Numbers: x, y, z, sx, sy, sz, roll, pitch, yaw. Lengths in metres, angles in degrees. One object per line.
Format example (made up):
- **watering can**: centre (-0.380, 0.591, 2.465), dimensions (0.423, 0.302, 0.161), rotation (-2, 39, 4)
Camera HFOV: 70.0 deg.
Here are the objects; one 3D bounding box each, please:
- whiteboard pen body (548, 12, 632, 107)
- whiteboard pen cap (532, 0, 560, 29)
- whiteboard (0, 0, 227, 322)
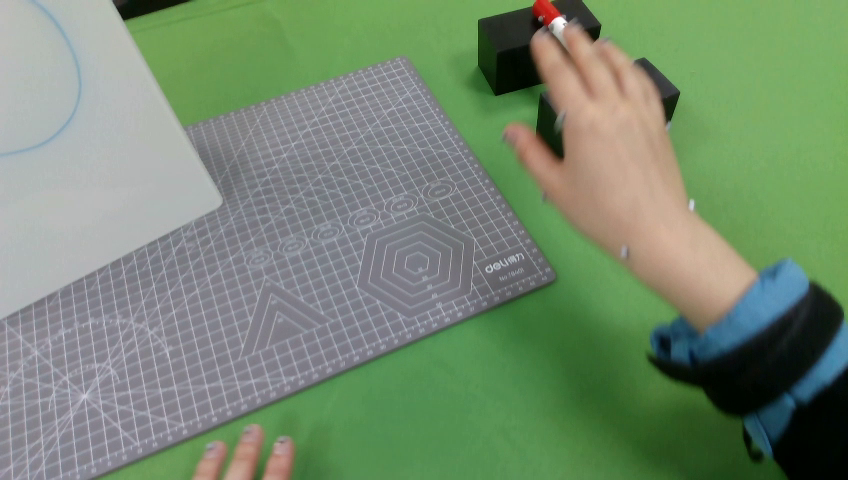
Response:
- **whiteboard pen body**: centre (0.132, -0.161, 0.510), dimensions (0.017, 0.017, 0.139), rotation (-20, 57, -9)
- **whiteboard pen cap**: centre (0.111, -0.204, 0.542), dimensions (0.017, 0.017, 0.032), rotation (-19, 58, -9)
- **whiteboard**: centre (-0.324, -0.123, 0.437), dimensions (0.217, 0.308, 0.142), rotation (-30, 39, -16)
